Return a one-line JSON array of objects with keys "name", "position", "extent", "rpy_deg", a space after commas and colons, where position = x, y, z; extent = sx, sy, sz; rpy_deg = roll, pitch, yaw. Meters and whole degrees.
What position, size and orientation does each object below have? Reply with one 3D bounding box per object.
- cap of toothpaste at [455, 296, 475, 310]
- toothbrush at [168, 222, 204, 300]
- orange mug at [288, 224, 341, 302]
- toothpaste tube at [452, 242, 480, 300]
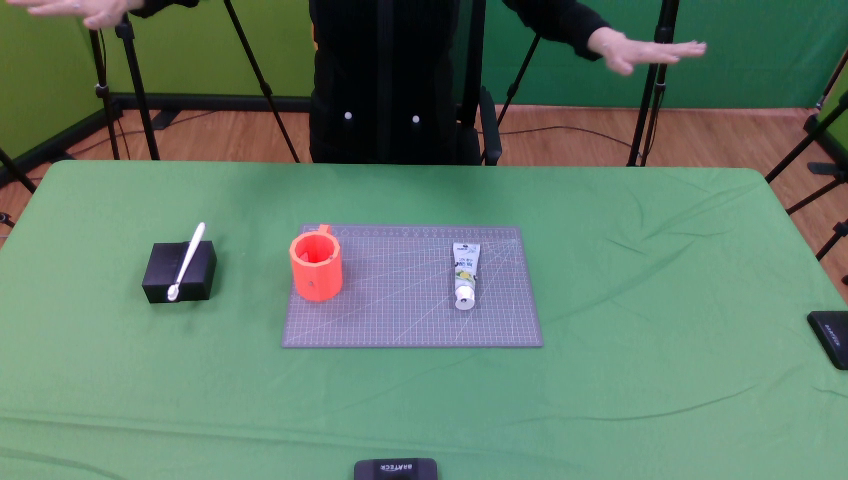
[{"name": "cap of toothpaste", "position": [0.072, 0.111, 1.081], "extent": [0.037, 0.037, 0.011], "rpy_deg": [-2, 47, -6]}, {"name": "toothbrush", "position": [-0.419, 0.032, 1.070], "extent": [0.014, 0.017, 0.180], "rpy_deg": [1, 46, 2]}, {"name": "orange mug", "position": [-0.192, 0.034, 1.094], "extent": [0.083, 0.101, 0.125], "rpy_deg": [7, 50, 2]}, {"name": "toothpaste tube", "position": [0.079, 0.058, 1.142], "extent": [0.055, 0.034, 0.164], "rpy_deg": [9, 42, -3]}]
